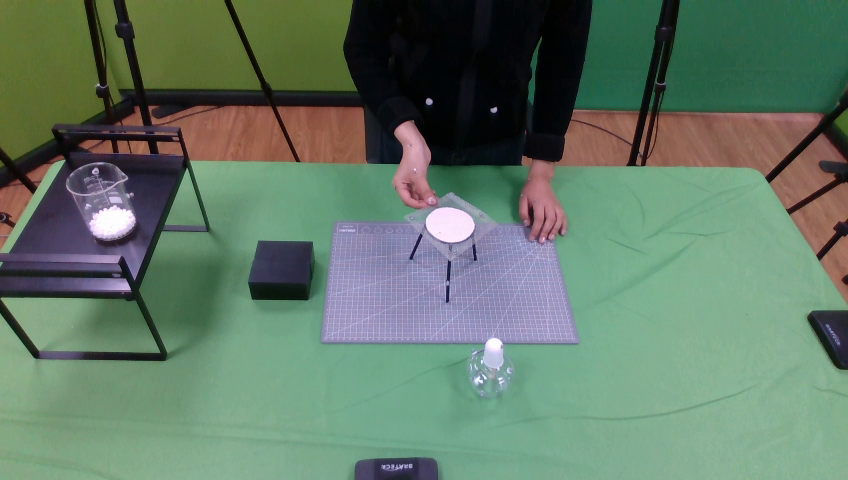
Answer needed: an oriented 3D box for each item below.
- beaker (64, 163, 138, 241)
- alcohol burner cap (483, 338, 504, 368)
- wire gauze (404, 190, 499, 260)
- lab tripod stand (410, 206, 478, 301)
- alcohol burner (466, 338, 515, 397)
[{"bbox_3d":[-0.478,-0.055,0.910,0.084,0.101,0.073,-9,48,-13],"label":"beaker"},{"bbox_3d":[0.108,0.170,0.928,0.034,0.048,0.033,-1,41,1],"label":"alcohol burner cap"},{"bbox_3d":[0.047,-0.032,1.053,0.121,0.011,0.124,-31,56,-30],"label":"wire gauze"},{"bbox_3d":[0.040,0.015,1.101,0.148,0.132,0.147,0,47,0],"label":"lab tripod stand"},{"bbox_3d":[0.106,0.195,0.952,0.078,0.120,0.077,1,46,0],"label":"alcohol burner"}]
